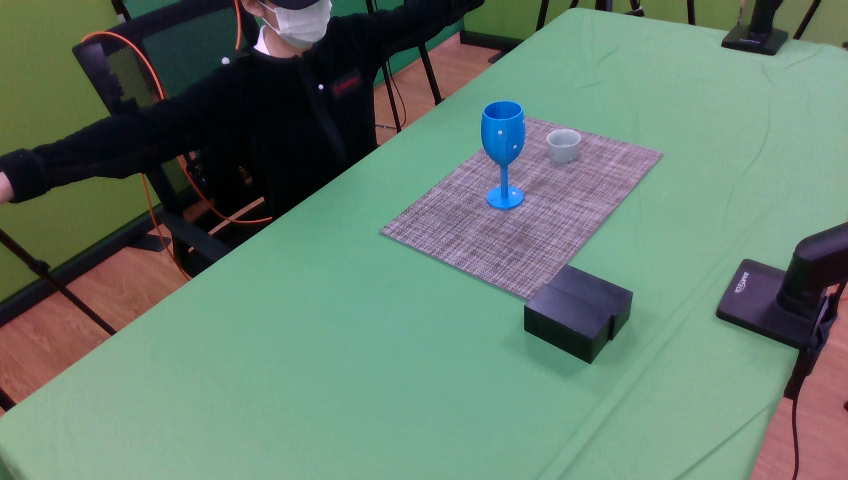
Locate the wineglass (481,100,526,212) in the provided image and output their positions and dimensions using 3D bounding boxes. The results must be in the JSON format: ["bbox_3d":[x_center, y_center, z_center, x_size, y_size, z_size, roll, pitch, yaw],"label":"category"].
[{"bbox_3d":[0.132,-0.137,0.993,0.074,0.173,0.073,-5,40,4],"label":"wineglass"}]

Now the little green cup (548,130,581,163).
[{"bbox_3d":[0.259,-0.173,1.120,0.061,0.039,0.061,-4,40,4],"label":"little green cup"}]
